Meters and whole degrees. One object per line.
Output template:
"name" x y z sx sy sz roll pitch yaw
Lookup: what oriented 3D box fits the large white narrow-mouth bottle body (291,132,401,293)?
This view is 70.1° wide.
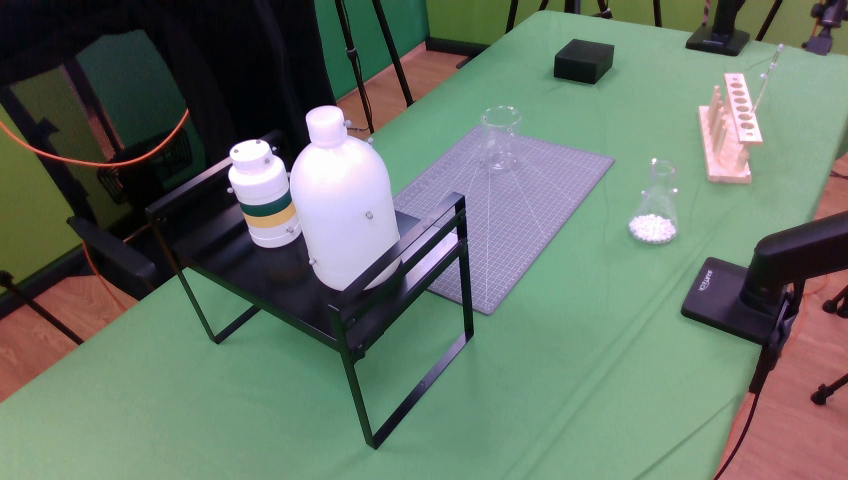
"large white narrow-mouth bottle body" -0.084 -0.043 0.630 0.102 0.195 0.101 -4 39 4

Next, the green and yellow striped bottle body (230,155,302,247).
"green and yellow striped bottle body" -0.188 -0.055 0.714 0.063 0.120 0.063 -4 41 4

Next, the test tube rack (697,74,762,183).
"test tube rack" 0.547 -0.208 1.095 0.066 0.085 0.242 5 42 15

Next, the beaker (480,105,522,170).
"beaker" 0.145 -0.187 1.112 0.084 0.101 0.073 -35 48 -29

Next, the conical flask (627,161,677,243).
"conical flask" 0.355 -0.061 0.921 0.075 0.122 0.075 -4 41 4

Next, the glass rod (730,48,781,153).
"glass rod" 0.554 -0.228 1.015 0.008 0.200 0.008 1 44 -1

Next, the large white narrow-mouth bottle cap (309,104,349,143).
"large white narrow-mouth bottle cap" -0.091 -0.111 0.575 0.038 0.024 0.037 -4 39 3

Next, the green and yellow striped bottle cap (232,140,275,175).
"green and yellow striped bottle cap" -0.192 -0.094 0.680 0.045 0.020 0.045 -5 39 5
